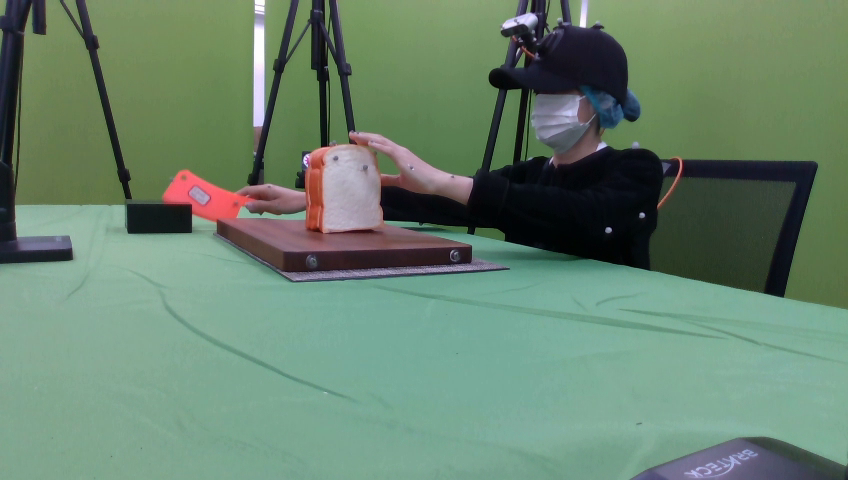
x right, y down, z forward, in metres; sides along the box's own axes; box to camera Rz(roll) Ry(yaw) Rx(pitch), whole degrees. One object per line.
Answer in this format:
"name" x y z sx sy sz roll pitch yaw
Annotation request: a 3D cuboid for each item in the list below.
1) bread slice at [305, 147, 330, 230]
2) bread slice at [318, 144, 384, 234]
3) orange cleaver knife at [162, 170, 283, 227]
"bread slice" -0.141 -0.082 0.964 0.105 0.131 0.019 -2 2 -34
"bread slice" -0.115 -0.078 0.921 0.107 0.134 0.018 -10 9 -35
"orange cleaver knife" -0.370 -0.066 1.122 0.212 0.077 0.012 19 -9 -28
